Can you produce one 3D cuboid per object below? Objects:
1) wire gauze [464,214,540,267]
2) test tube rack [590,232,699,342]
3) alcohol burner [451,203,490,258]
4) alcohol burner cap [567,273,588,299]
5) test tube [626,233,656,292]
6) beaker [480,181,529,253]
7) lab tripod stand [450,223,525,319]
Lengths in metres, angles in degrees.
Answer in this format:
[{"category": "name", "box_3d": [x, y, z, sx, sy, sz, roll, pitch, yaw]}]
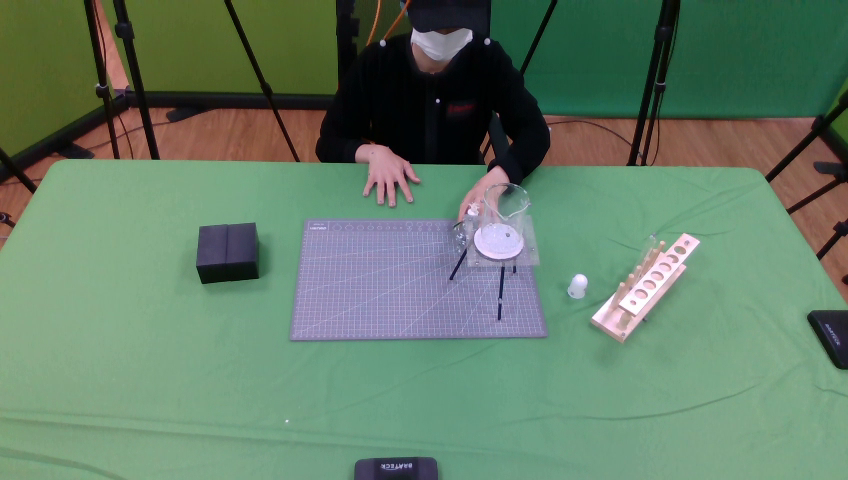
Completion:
[{"category": "wire gauze", "box_3d": [0.131, -0.001, 1.035, 0.121, 0.011, 0.124, 1, 44, -2]}, {"category": "test tube rack", "box_3d": [0.407, 0.074, 1.112, 0.066, 0.085, 0.242, 35, 53, 26]}, {"category": "alcohol burner", "box_3d": [0.090, -0.023, 1.158, 0.078, 0.120, 0.077, 1, 45, -1]}, {"category": "alcohol burner cap", "box_3d": [0.287, 0.083, 1.125, 0.034, 0.048, 0.033, 2, 45, -1]}, {"category": "test tube", "box_3d": [0.384, 0.042, 1.079, 0.017, 0.151, 0.017, 1, 47, -1]}, {"category": "beaker", "box_3d": [0.130, -0.033, 0.998, 0.074, 0.101, 0.083, 5, 47, 4]}, {"category": "lab tripod stand", "box_3d": [0.120, 0.046, 1.080, 0.148, 0.132, 0.147, 1, 47, -1]}]
